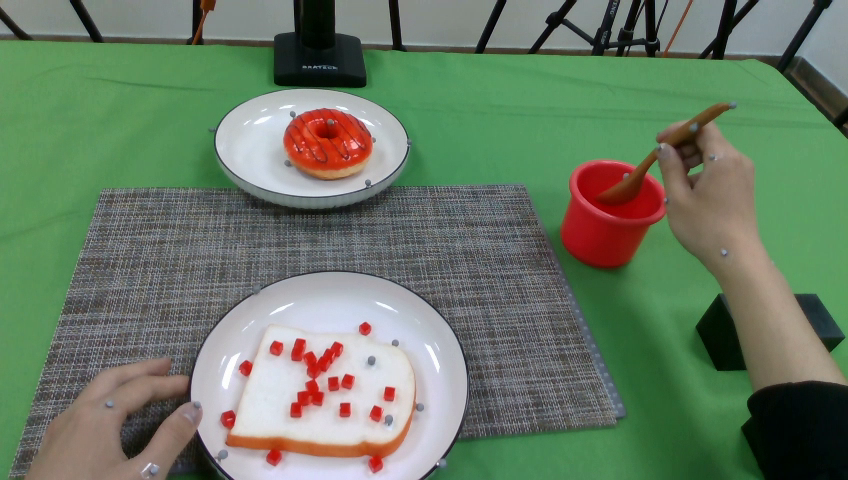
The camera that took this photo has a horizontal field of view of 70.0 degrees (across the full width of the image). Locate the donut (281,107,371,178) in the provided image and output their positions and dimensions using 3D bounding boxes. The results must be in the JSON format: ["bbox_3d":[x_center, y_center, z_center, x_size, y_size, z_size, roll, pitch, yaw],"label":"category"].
[{"bbox_3d":[-0.106,-0.107,0.664,0.099,0.048,0.098,6,46,-6],"label":"donut"}]

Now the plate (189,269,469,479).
[{"bbox_3d":[-0.070,0.110,0.470,0.209,0.038,0.207,5,46,-4],"label":"plate"}]

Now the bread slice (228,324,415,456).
[{"bbox_3d":[-0.072,0.114,0.470,0.131,0.019,0.104,7,46,-1],"label":"bread slice"}]

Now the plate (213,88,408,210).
[{"bbox_3d":[-0.122,-0.099,0.670,0.208,0.039,0.205,5,43,-5],"label":"plate"}]

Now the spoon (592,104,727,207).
[{"bbox_3d":[0.209,-0.072,0.556,0.042,0.194,0.021,3,66,-11],"label":"spoon"}]
